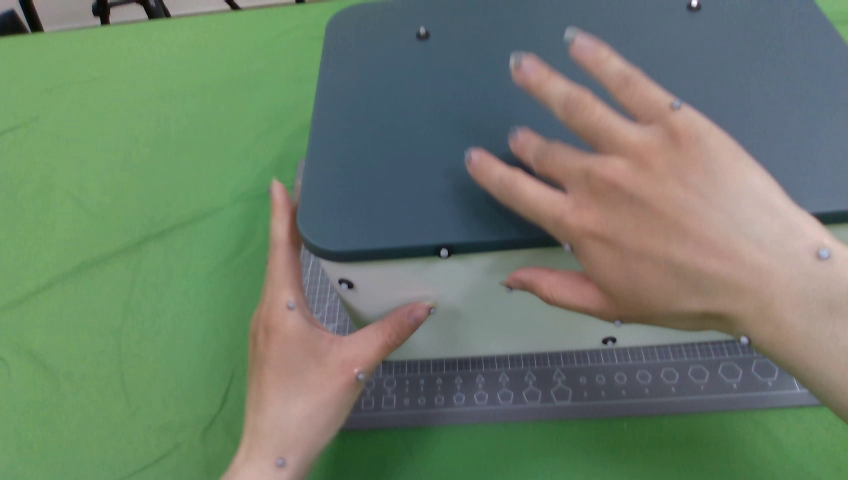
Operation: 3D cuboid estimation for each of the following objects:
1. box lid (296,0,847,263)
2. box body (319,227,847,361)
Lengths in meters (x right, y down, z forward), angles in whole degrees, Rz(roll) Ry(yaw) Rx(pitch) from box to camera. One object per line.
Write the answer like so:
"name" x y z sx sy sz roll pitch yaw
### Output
"box lid" 0.103 -0.100 0.416 0.371 0.015 0.260 -4 51 4
"box body" 0.115 -0.053 0.473 0.364 0.162 0.251 -5 50 5
